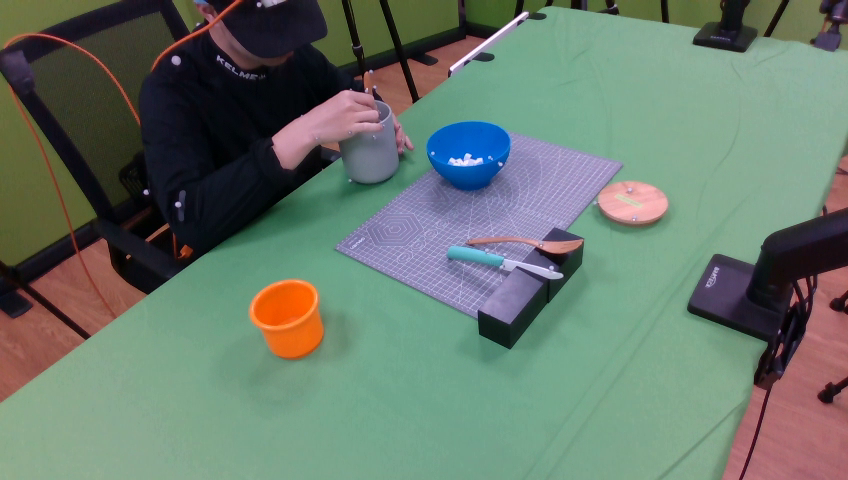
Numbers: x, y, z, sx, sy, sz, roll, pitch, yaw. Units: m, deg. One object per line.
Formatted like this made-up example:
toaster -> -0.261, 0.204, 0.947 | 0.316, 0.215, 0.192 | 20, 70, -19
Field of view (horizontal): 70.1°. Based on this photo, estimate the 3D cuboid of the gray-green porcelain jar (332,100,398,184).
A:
gray-green porcelain jar -> -0.105, -0.175, 1.109 | 0.106, 0.127, 0.105 | -4, 40, 4

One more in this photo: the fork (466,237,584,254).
fork -> 0.142, 0.005, 0.894 | 0.205, 0.019, 0.028 | 4, 43, 41

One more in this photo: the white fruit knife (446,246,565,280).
white fruit knife -> 0.111, 0.033, 0.868 | 0.205, 0.027, 0.016 | 11, 44, 40

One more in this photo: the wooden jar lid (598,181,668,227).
wooden jar lid -> 0.340, -0.058, 0.988 | 0.108, 0.021, 0.108 | -5, 41, 5

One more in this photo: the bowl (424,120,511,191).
bowl -> 0.081, -0.141, 1.074 | 0.151, 0.077, 0.150 | -4, 41, 4
